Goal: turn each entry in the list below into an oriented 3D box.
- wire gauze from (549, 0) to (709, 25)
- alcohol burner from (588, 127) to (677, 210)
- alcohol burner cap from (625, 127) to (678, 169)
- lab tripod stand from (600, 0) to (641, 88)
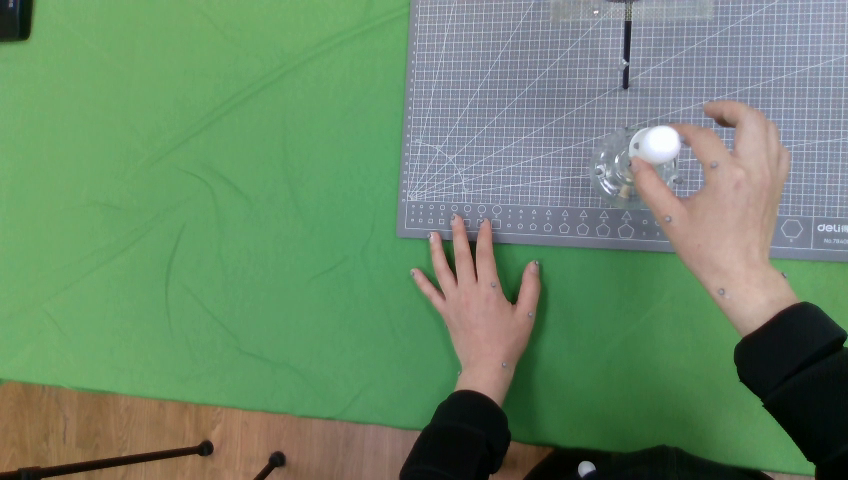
[{"bbox_3d":[0.162,-0.231,0.480,0.125,0.011,0.121,3,91,11],"label":"wire gauze"},{"bbox_3d":[0.189,-0.067,0.544,0.078,0.119,0.078,-1,87,12],"label":"alcohol burner"},{"bbox_3d":[0.176,-0.072,0.464,0.034,0.048,0.034,0,93,6],"label":"alcohol burner cap"},{"bbox_3d":[0.178,-0.226,0.543,0.148,0.132,0.148,0,88,12],"label":"lab tripod stand"}]
